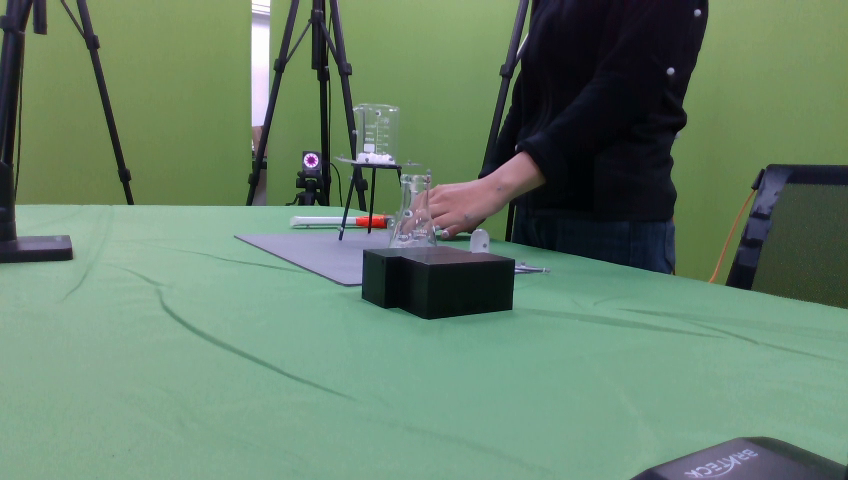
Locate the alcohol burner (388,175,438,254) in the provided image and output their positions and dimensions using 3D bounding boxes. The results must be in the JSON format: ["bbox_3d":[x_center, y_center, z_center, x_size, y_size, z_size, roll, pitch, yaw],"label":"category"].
[{"bbox_3d":[-0.016,-0.039,0.912,0.078,0.119,0.078,4,9,0],"label":"alcohol burner"}]

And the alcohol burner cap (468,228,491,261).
[{"bbox_3d":[0.082,0.006,0.878,0.034,0.048,0.034,3,6,0],"label":"alcohol burner cap"}]

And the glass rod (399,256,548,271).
[{"bbox_3d":[0.064,0.030,0.806,0.199,0.008,0.008,4,7,10],"label":"glass rod"}]

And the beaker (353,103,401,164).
[{"bbox_3d":[-0.084,-0.183,1.045,0.084,0.100,0.074,4,6,3],"label":"beaker"}]

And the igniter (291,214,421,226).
[{"bbox_3d":[-0.135,-0.041,1.250,0.278,0.025,0.057,-1,-3,-28],"label":"igniter"}]

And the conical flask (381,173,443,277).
[{"bbox_3d":[-0.012,-0.020,0.731,0.075,0.122,0.075,2,7,0],"label":"conical flask"}]

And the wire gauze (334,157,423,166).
[{"bbox_3d":[-0.081,-0.135,1.051,0.122,0.011,0.124,2,5,-30],"label":"wire gauze"}]

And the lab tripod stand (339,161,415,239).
[{"bbox_3d":[-0.082,-0.070,1.059,0.148,0.131,0.148,4,6,0],"label":"lab tripod stand"}]
